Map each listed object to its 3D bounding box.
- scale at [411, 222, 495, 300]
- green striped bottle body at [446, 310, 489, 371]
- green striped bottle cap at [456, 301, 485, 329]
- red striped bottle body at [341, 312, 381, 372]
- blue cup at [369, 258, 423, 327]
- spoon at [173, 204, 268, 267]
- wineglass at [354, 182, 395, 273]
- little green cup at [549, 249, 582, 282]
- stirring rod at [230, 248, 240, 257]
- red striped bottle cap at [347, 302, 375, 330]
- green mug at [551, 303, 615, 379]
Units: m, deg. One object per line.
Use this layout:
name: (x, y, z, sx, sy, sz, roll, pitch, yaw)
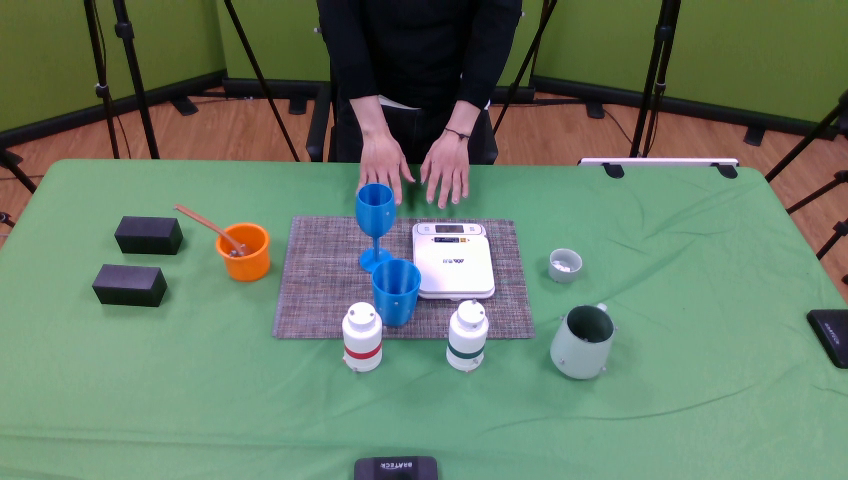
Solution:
scale: (0.052, 0.031, 1.158, 0.149, 0.032, 0.199, 1, 46, -4)
green striped bottle body: (0.070, 0.155, 0.984, 0.063, 0.120, 0.063, 2, 46, -2)
green striped bottle cap: (0.073, 0.116, 0.943, 0.044, 0.020, 0.044, 3, 46, -3)
red striped bottle body: (-0.100, 0.154, 0.972, 0.063, 0.120, 0.062, 2, 46, -2)
blue cup: (-0.051, 0.097, 1.039, 0.093, 0.101, 0.092, 3, 43, -2)
spoon: (-0.363, -0.009, 1.089, 0.021, 0.195, 0.041, -35, 31, 23)
wineglass: (-0.089, -0.020, 1.098, 0.074, 0.173, 0.073, 2, 46, -2)
little green cup: (0.268, 0.050, 1.156, 0.061, 0.039, 0.061, 2, 45, -1)
stirring rod: (-0.330, 0.023, 1.059, 0.014, 0.176, 0.006, 33, 79, -11)
red striped bottle cap: (-0.097, 0.116, 0.934, 0.044, 0.018, 0.044, 2, 48, -2)
green mug: (0.271, 0.157, 1.007, 0.092, 0.105, 0.125, 27, 50, 21)
